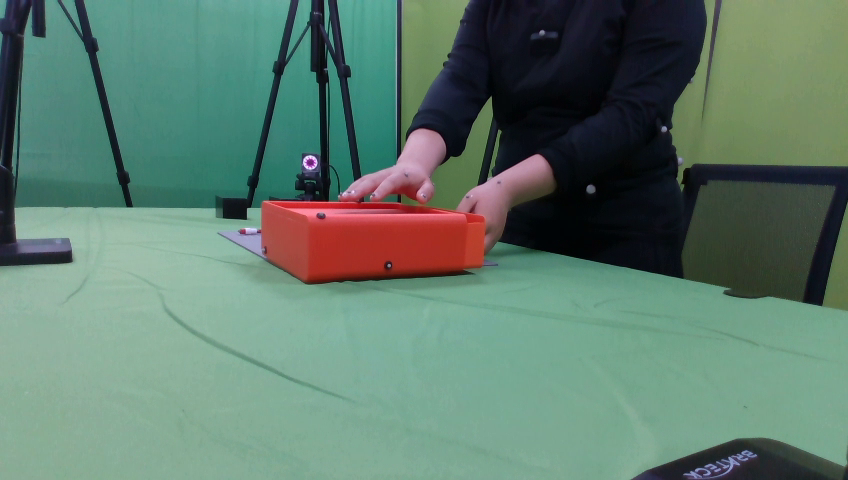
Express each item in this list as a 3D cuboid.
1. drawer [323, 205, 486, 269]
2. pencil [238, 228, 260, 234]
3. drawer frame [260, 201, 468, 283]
[{"bbox_3d":[-0.056,-0.005,0.810,0.213,0.073,0.193,-3,10,-29],"label":"drawer"},{"bbox_3d":[-0.241,-0.015,1.106,0.195,0.012,0.012,1,7,-30],"label":"pencil"},{"bbox_3d":[-0.084,-0.005,0.794,0.215,0.082,0.200,-2,10,-30],"label":"drawer frame"}]
